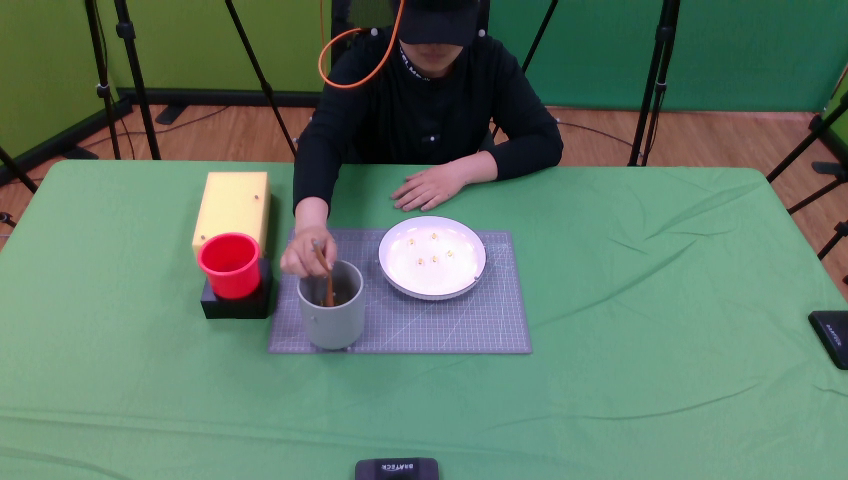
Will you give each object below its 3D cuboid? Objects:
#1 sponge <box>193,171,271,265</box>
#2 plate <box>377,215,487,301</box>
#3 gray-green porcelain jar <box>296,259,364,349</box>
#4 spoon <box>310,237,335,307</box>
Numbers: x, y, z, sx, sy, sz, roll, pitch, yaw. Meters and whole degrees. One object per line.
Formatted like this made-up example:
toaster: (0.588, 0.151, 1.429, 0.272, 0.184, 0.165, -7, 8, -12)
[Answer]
sponge: (-0.371, -0.047, 1.189, 0.118, 0.061, 0.205, -3, 46, -6)
plate: (0.015, 0.037, 1.147, 0.208, 0.039, 0.206, 2, 46, -2)
gray-green porcelain jar: (-0.152, 0.111, 1.003, 0.106, 0.127, 0.105, 2, 46, -2)
spoon: (-0.158, 0.063, 0.977, 0.021, 0.195, 0.041, -16, 44, -12)
